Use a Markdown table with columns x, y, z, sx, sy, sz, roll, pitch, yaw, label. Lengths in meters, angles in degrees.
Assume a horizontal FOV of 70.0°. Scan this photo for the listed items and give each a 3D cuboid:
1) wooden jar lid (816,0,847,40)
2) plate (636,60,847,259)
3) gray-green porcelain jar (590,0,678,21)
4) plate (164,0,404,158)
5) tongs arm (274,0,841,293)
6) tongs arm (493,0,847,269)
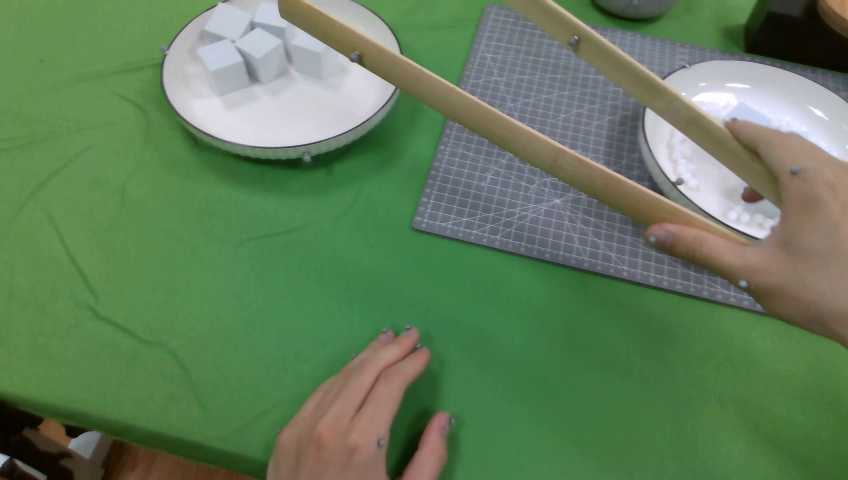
| x | y | z | sx | sy | sz | roll | pitch | yaw | label |
| --- | --- | --- | --- | --- | --- | --- | --- | --- | --- |
| 0.423 | -0.218 | 0.573 | 0.108 | 0.021 | 0.107 | 2 | 58 | -2 | wooden jar lid |
| 0.281 | -0.069 | 0.513 | 0.209 | 0.038 | 0.207 | 1 | 57 | -2 | plate |
| 0.223 | -0.297 | 0.610 | 0.106 | 0.127 | 0.105 | 1 | 56 | -2 | gray-green porcelain jar |
| -0.121 | -0.150 | 0.546 | 0.208 | 0.039 | 0.205 | 2 | 57 | -2 | plate |
| 0.064 | -0.068 | 0.379 | 0.386 | 0.028 | 0.028 | 30 | 55 | 10 | tongs arm |
| 0.111 | -0.114 | 0.412 | 0.382 | 0.027 | 0.050 | 40 | 61 | 15 | tongs arm |
